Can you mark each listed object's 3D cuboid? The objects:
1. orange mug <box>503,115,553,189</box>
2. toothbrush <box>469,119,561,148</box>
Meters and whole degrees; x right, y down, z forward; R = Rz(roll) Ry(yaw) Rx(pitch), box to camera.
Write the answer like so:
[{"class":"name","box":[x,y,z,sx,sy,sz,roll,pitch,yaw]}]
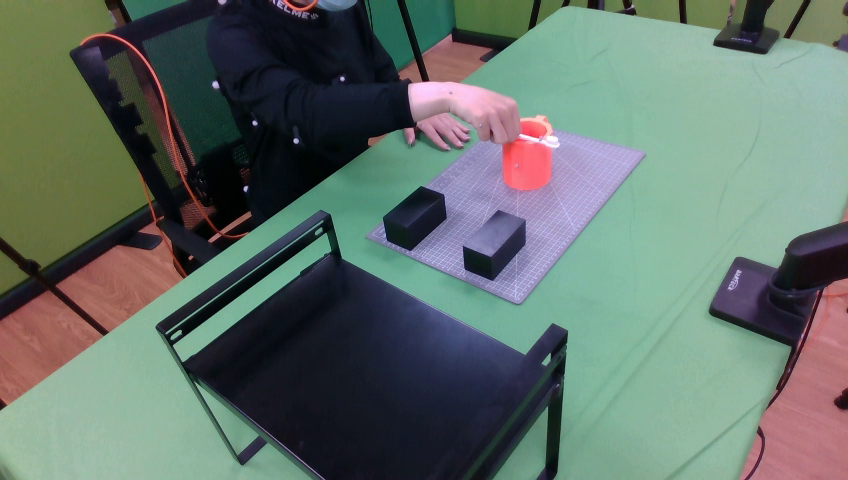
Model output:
[{"class":"orange mug","box":[0.190,-0.164,1.071,0.083,0.101,0.126,16,50,25]},{"class":"toothbrush","box":[0.148,-0.182,1.013,0.180,0.017,0.014,22,59,35]}]
